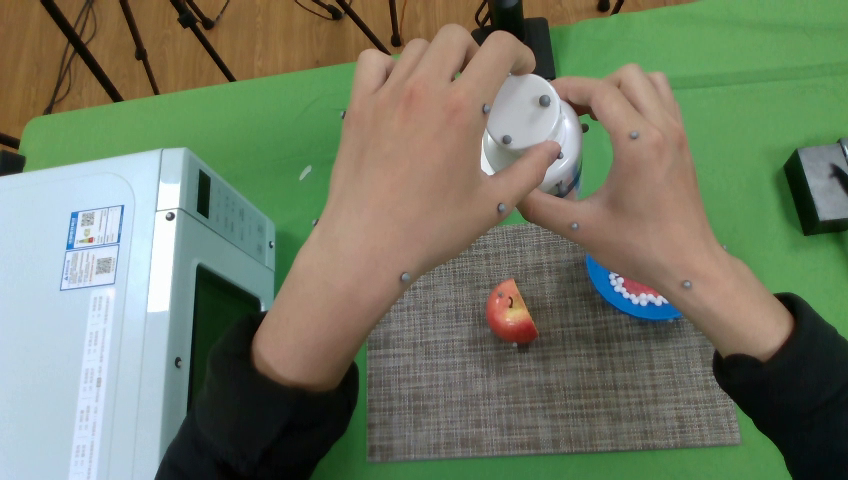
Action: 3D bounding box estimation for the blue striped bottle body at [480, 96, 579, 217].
[{"bbox_3d":[0.074,-0.059,0.415,0.063,0.121,0.063,-3,78,13],"label":"blue striped bottle body"}]

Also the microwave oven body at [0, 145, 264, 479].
[{"bbox_3d":[-0.389,0.153,0.742,0.326,0.262,0.438,-7,70,8],"label":"microwave oven body"}]

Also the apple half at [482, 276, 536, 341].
[{"bbox_3d":[0.102,0.092,0.765,0.053,0.075,0.080,-26,71,6],"label":"apple half"}]

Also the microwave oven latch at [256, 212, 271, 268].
[{"bbox_3d":[-0.236,0.002,0.869,0.030,0.030,0.078,-9,70,8],"label":"microwave oven latch"}]

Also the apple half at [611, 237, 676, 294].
[{"bbox_3d":[0.272,0.028,0.745,0.081,0.033,0.080,-4,68,10],"label":"apple half"}]

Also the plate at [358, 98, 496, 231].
[{"bbox_3d":[0.010,-0.107,0.877,0.207,0.039,0.206,-3,71,10],"label":"plate"}]

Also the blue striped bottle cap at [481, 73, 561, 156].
[{"bbox_3d":[0.055,-0.072,0.347,0.044,0.021,0.044,-1,89,19],"label":"blue striped bottle cap"}]

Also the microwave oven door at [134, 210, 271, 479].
[{"bbox_3d":[-0.244,0.171,0.701,0.039,0.246,0.353,-8,69,9],"label":"microwave oven door"}]

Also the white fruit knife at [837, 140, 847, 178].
[{"bbox_3d":[0.520,-0.019,0.715,0.016,0.027,0.207,-17,85,24],"label":"white fruit knife"}]

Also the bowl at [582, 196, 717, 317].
[{"bbox_3d":[0.271,0.029,0.749,0.151,0.077,0.150,-4,70,11],"label":"bowl"}]
